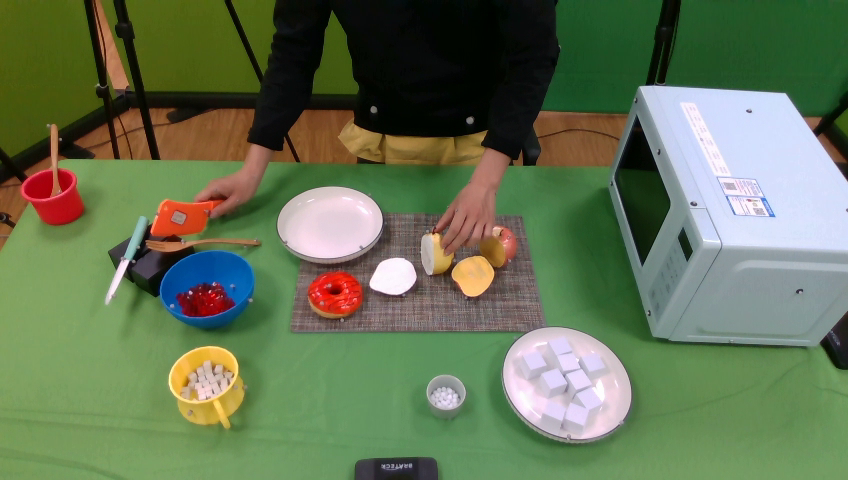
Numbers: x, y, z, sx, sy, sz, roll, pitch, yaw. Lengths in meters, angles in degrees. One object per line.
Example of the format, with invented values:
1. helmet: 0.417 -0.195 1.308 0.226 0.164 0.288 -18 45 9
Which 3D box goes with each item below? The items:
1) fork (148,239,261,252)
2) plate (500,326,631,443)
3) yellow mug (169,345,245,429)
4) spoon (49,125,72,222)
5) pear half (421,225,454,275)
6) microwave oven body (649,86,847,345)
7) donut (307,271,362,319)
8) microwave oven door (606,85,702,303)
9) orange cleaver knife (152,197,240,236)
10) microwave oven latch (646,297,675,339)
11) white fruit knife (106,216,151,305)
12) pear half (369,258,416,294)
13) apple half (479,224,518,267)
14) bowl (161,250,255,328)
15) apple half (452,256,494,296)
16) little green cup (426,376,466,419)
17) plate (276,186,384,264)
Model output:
1. fork: -0.399 0.007 1.118 0.208 0.019 0.028 -4 36 -37
2. plate: 0.224 0.233 0.978 0.208 0.039 0.206 2 46 -2
3. yellow mug: -0.322 0.230 0.922 0.100 0.064 0.130 -24 53 -25
4. spoon: -0.717 -0.132 1.189 0.041 0.021 0.193 -3 90 -6
5. pear half: 0.029 0.012 1.122 0.056 0.110 0.076 -15 51 -20
6. microwave oven body: 0.567 -0.053 1.118 0.326 0.261 0.439 2 45 -1
7. donut: -0.157 0.097 1.073 0.099 0.048 0.098 4 45 -4
8. microwave oven door: 0.423 -0.094 1.140 0.039 0.245 0.353 2 46 -1
9. orange cleaver knife: -0.433 -0.048 1.162 0.012 0.077 0.211 23 17 19
10. microwave oven latch: 0.412 0.134 1.061 0.030 0.029 0.078 4 45 1
11. white fruit knife: -0.519 0.032 1.066 0.027 0.016 0.206 -18 45 19
12. pear half: -0.058 0.072 1.112 0.088 0.031 0.070 -23 64 -12
13. apple half: 0.148 0.008 1.160 0.053 0.075 0.080 -24 48 -30
14. bowl: -0.362 0.097 1.040 0.151 0.077 0.150 2 45 -2
15. apple half: 0.095 0.070 1.120 0.081 0.033 0.081 -7 63 14
16. little green cup: 0.033 0.248 0.950 0.061 0.039 0.061 2 46 -2
17. plate: -0.184 -0.027 1.194 0.209 0.038 0.208 2 46 -2
